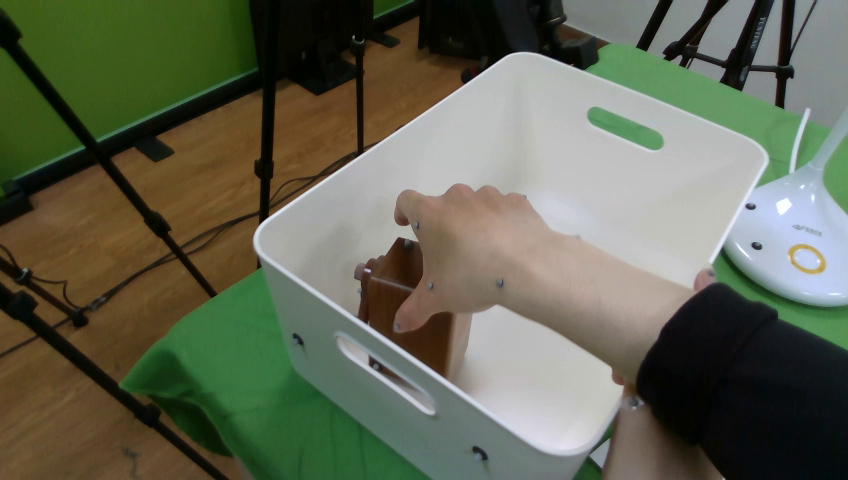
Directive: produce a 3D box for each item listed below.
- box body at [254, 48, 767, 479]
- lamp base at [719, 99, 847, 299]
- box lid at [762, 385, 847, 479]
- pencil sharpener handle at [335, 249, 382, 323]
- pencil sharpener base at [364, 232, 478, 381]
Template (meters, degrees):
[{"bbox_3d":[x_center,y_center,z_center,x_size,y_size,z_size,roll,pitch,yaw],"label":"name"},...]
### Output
[{"bbox_3d":[0.082,0.012,0.511,0.252,0.162,0.363,31,52,23],"label":"box body"},{"bbox_3d":[0.398,-0.063,0.594,0.160,0.182,0.178,10,44,6],"label":"lamp base"},{"bbox_3d":[0.462,0.195,0.467,0.372,0.015,0.260,-27,53,-27],"label":"box lid"},{"bbox_3d":[-0.056,0.036,0.482,0.030,0.068,0.036,16,12,14],"label":"pencil sharpener handle"},{"bbox_3d":[-0.006,0.056,0.485,0.076,0.108,0.061,16,40,14],"label":"pencil sharpener base"}]
